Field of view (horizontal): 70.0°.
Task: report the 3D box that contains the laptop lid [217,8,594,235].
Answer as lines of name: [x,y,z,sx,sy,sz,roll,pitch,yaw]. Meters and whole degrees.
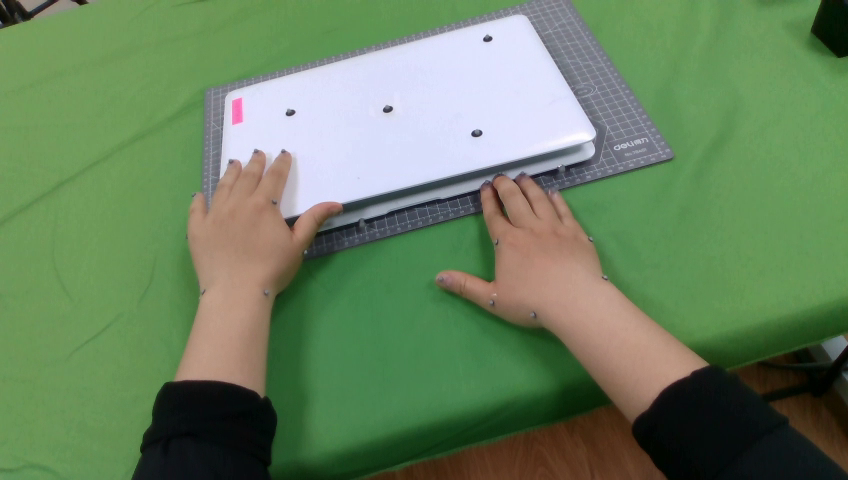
laptop lid: [-0.037,-0.133,0.610,0.357,0.013,0.239,-14,49,1]

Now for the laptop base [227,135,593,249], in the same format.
laptop base: [-0.034,-0.122,0.628,0.354,0.023,0.233,-15,55,0]
